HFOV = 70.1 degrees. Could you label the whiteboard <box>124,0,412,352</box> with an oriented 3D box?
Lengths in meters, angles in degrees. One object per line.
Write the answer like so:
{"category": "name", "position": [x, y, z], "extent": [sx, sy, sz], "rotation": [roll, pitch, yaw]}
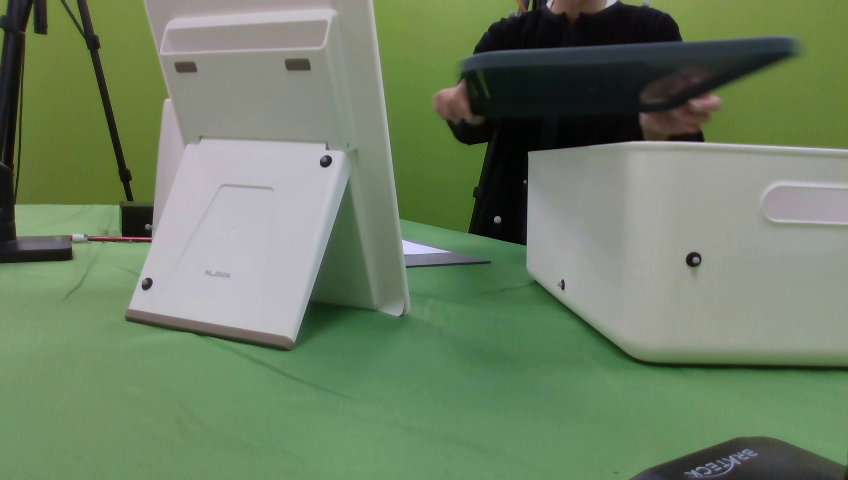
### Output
{"category": "whiteboard", "position": [-0.151, -0.049, 0.472], "extent": [0.216, 0.305, 0.144], "rotation": [6, 27, 24]}

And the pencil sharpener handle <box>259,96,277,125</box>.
{"category": "pencil sharpener handle", "position": [-0.373, -0.304, 1.425], "extent": [0.036, 0.067, 0.030], "rotation": [13, -1, -37]}

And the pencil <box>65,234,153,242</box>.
{"category": "pencil", "position": [-0.429, -0.001, 0.911], "extent": [0.195, 0.012, 0.012], "rotation": [1, 8, -19]}

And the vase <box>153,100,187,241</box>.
{"category": "vase", "position": [-0.278, -0.066, 0.736], "extent": [0.098, 0.200, 0.098], "rotation": [2, 9, 0]}

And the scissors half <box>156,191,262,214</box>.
{"category": "scissors half", "position": [-0.371, -0.068, 1.051], "extent": [0.176, 0.040, 0.013], "rotation": [2, 25, -24]}

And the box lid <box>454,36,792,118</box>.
{"category": "box lid", "position": [0.172, -0.156, 0.633], "extent": [0.263, 0.015, 0.372], "rotation": [-2, 5, 6]}

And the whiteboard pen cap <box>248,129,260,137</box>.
{"category": "whiteboard pen cap", "position": [-0.373, -0.235, 1.326], "extent": [0.018, 0.018, 0.033], "rotation": [-3, 12, -35]}

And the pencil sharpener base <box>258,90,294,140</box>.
{"category": "pencil sharpener base", "position": [-0.341, -0.285, 1.388], "extent": [0.062, 0.107, 0.076], "rotation": [-3, 9, -36]}

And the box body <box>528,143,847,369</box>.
{"category": "box body", "position": [0.258, -0.005, 0.591], "extent": [0.254, 0.160, 0.363], "rotation": [2, 7, -4]}

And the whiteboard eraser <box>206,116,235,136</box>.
{"category": "whiteboard eraser", "position": [-0.449, -0.251, 1.335], "extent": [0.056, 0.042, 0.112], "rotation": [1, 7, -22]}

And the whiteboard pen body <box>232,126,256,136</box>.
{"category": "whiteboard pen body", "position": [-0.407, -0.247, 1.372], "extent": [0.017, 0.017, 0.140], "rotation": [-3, 13, -35]}

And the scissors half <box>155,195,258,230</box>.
{"category": "scissors half", "position": [-0.378, -0.051, 1.058], "extent": [0.176, 0.040, 0.012], "rotation": [20, 22, -31]}

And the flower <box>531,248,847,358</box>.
{"category": "flower", "position": [0.251, 0.062, 0.602], "extent": [0.044, 0.038, 0.359], "rotation": [35, -11, -40]}
